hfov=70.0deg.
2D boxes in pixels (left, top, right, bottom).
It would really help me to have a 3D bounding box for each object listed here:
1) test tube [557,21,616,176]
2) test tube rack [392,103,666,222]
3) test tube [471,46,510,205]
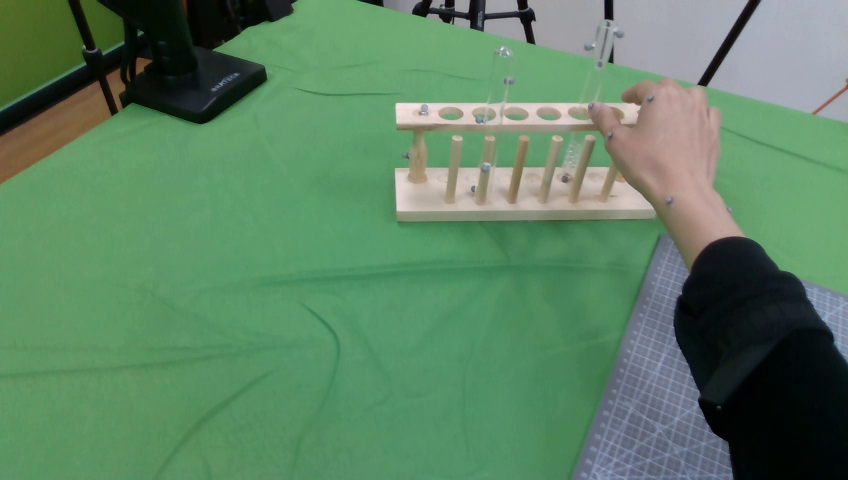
[{"bbox_3d":[0.141,-0.119,0.537,0.017,0.151,0.017,3,43,-3],"label":"test tube"},{"bbox_3d":[0.093,-0.071,0.556,0.243,0.086,0.066,-1,44,-5],"label":"test tube rack"},{"bbox_3d":[0.054,-0.090,0.508,0.017,0.152,0.017,2,43,-2],"label":"test tube"}]
